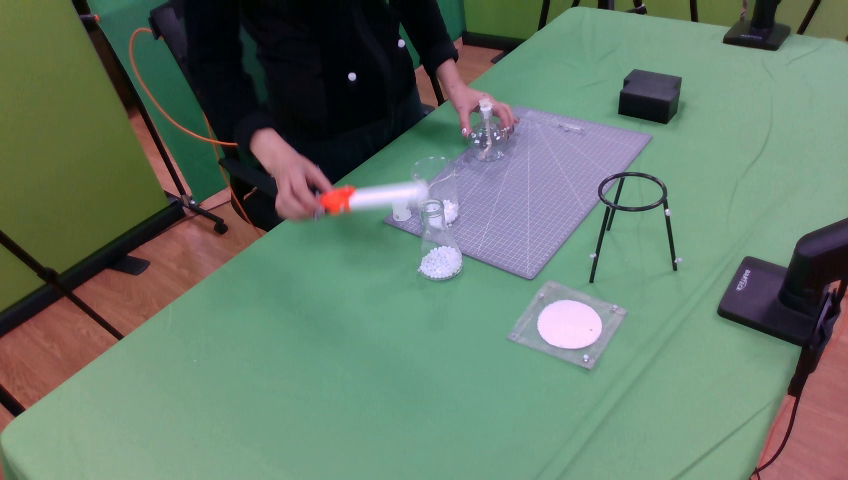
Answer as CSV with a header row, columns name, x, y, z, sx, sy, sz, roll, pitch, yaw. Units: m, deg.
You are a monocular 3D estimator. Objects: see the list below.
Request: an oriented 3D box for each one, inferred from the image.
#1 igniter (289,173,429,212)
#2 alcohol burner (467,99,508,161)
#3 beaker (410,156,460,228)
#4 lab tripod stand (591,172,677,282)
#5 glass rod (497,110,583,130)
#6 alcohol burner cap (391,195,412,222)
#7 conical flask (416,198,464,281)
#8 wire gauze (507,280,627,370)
name,x,y,z,sx,sy,sz,roll,pitch,yaw
igniter,-0.106,-0.067,0.871,0.274,0.025,0.057,-4,36,41
alcohol burner,0.119,-0.210,1.134,0.078,0.119,0.077,-4,39,4
beaker,0.020,-0.076,1.006,0.074,0.101,0.084,3,42,15
lab tripod stand,0.292,-0.022,0.867,0.148,0.132,0.147,-7,39,6
glass rod,0.233,-0.245,1.235,0.198,0.008,0.008,21,49,35
alcohol burner cap,-0.041,-0.057,1.040,0.034,0.048,0.033,-6,40,5
conical flask,0.019,-0.004,0.907,0.075,0.122,0.075,-5,40,5
wire gauze,0.196,0.114,0.823,0.120,0.011,0.125,20,50,31
